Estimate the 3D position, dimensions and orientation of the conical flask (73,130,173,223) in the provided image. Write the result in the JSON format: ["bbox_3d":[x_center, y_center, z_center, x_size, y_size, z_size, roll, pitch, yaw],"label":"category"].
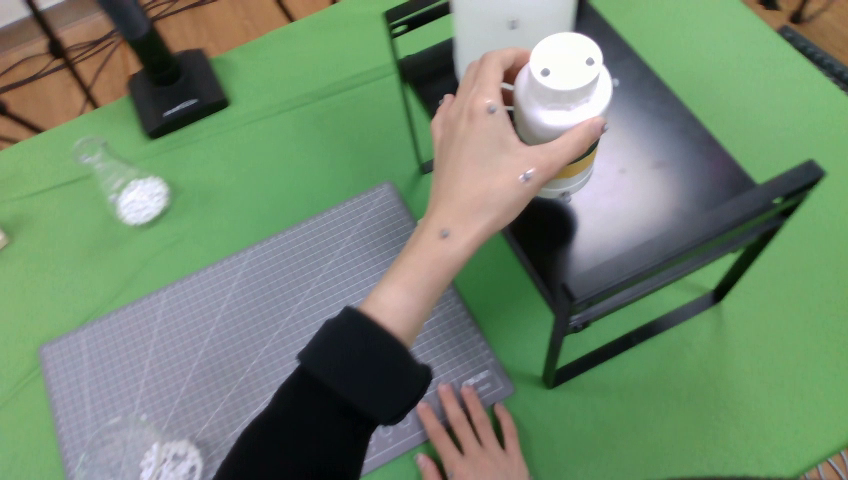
[{"bbox_3d":[-0.358,-0.079,0.714,0.075,0.123,0.074,-3,63,6],"label":"conical flask"}]

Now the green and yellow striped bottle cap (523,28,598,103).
[{"bbox_3d":[0.083,-0.107,0.371,0.045,0.020,0.045,-2,69,6],"label":"green and yellow striped bottle cap"}]

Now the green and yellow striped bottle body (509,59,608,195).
[{"bbox_3d":[0.090,-0.085,0.418,0.063,0.120,0.062,-3,67,7],"label":"green and yellow striped bottle body"}]

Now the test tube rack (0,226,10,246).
[{"bbox_3d":[-0.629,0.043,0.703,0.066,0.086,0.242,37,73,22],"label":"test tube rack"}]

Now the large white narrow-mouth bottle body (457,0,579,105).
[{"bbox_3d":[0.075,-0.204,0.486,0.101,0.196,0.101,-3,63,7],"label":"large white narrow-mouth bottle body"}]

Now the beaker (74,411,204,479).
[{"bbox_3d":[-0.262,0.210,0.570,0.084,0.101,0.073,-17,62,-1],"label":"beaker"}]
